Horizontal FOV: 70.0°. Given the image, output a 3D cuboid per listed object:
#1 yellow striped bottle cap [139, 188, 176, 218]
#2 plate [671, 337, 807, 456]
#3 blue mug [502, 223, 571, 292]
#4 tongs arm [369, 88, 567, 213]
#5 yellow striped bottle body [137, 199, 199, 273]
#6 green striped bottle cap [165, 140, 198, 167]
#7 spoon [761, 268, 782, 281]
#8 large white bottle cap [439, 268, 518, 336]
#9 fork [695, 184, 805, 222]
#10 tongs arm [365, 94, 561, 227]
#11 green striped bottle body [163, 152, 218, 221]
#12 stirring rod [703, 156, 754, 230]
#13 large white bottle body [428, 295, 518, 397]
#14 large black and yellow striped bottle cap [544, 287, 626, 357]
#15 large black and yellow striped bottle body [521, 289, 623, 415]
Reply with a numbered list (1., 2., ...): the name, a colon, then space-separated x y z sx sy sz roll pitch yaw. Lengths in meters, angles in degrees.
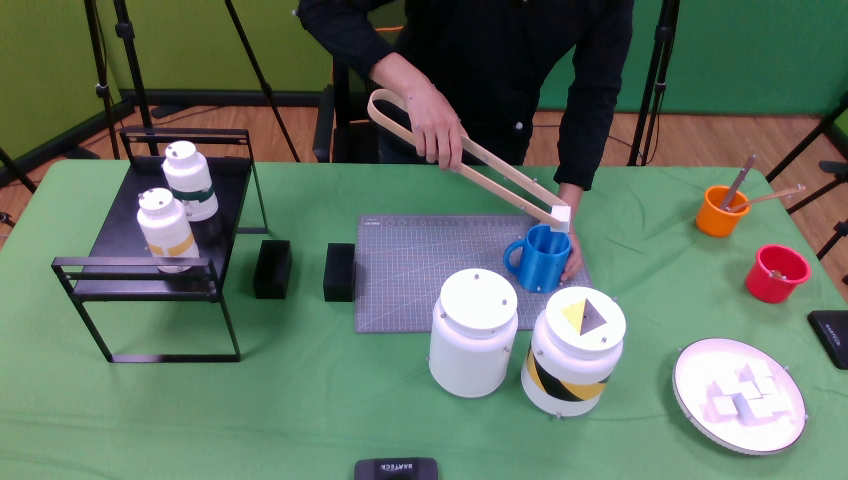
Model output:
1. yellow striped bottle cap: -0.363 -0.051 0.827 0.044 0.019 0.044 1 48 -1
2. plate: 0.504 0.254 0.984 0.208 0.039 0.206 2 46 -2
3. blue mug: 0.203 0.032 1.121 0.116 0.106 0.082 4 47 0
4. tongs arm: 0.073 -0.148 1.034 0.385 0.026 0.050 35 57 1
5. yellow striped bottle body: -0.366 -0.014 0.864 0.063 0.121 0.062 2 46 -2
6. green striped bottle cap: -0.361 -0.128 0.902 0.044 0.020 0.044 3 47 -3
7. spoon: 0.638 0.060 1.105 0.041 0.021 0.194 38 11 24
8. large white bottle cap: 0.080 0.089 0.888 0.115 0.018 0.114 2 47 -2
9. fork: 0.657 -0.075 1.230 0.207 0.019 0.028 -23 34 37
10. tongs arm: 0.063 -0.130 1.021 0.388 0.028 0.028 31 61 -1
11. green striped bottle body: -0.363 -0.092 0.939 0.063 0.120 0.063 2 46 -2
12. stirring rod: 0.631 -0.098 1.258 0.014 0.006 0.176 33 95 28
13. large white bottle body: 0.076 0.147 0.950 0.131 0.185 0.130 2 46 -2
14. large black and yellow striped bottle cap: 0.232 0.116 0.876 0.115 0.019 0.114 2 45 -1
15. large black and yellow striped bottle body: 0.228 0.173 0.937 0.131 0.185 0.130 2 47 -2
